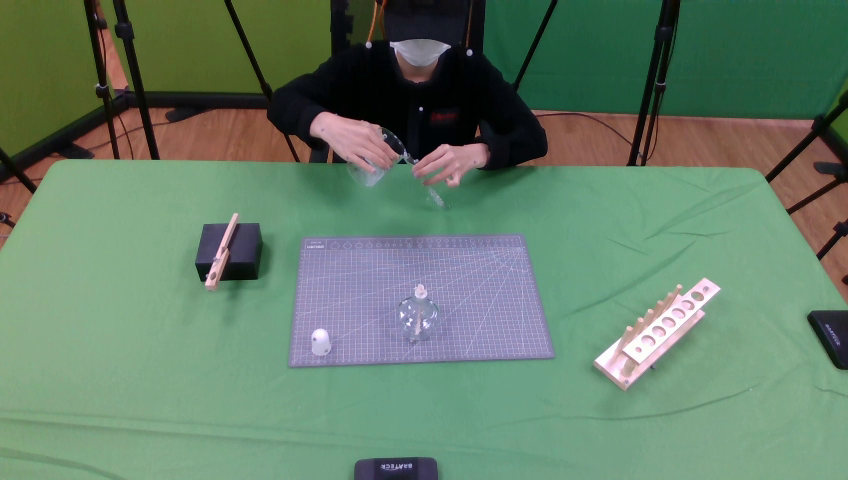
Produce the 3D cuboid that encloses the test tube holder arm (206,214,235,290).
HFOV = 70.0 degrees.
[{"bbox_3d":[-0.364,0.017,1.090,0.013,0.015,0.177,7,45,-8],"label":"test tube holder arm"}]

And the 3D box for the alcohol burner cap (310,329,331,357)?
[{"bbox_3d":[-0.173,0.168,1.005,0.034,0.048,0.033,2,46,-2],"label":"alcohol burner cap"}]

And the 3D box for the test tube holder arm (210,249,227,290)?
[{"bbox_3d":[-0.359,0.050,1.059,0.010,0.015,0.087,8,45,-8],"label":"test tube holder arm"}]

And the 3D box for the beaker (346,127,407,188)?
[{"bbox_3d":[-0.092,-0.154,1.157,0.084,0.100,0.073,34,27,-30],"label":"beaker"}]

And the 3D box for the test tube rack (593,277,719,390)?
[{"bbox_3d":[0.401,0.148,1.043,0.242,0.085,0.066,-30,55,-29],"label":"test tube rack"}]

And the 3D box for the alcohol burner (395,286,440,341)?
[{"bbox_3d":[-0.010,0.116,1.018,0.078,0.119,0.077,3,47,-3],"label":"alcohol burner"}]

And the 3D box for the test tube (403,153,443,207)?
[{"bbox_3d":[0.000,-0.116,1.207,0.017,0.151,0.017,-20,43,20],"label":"test tube"}]
